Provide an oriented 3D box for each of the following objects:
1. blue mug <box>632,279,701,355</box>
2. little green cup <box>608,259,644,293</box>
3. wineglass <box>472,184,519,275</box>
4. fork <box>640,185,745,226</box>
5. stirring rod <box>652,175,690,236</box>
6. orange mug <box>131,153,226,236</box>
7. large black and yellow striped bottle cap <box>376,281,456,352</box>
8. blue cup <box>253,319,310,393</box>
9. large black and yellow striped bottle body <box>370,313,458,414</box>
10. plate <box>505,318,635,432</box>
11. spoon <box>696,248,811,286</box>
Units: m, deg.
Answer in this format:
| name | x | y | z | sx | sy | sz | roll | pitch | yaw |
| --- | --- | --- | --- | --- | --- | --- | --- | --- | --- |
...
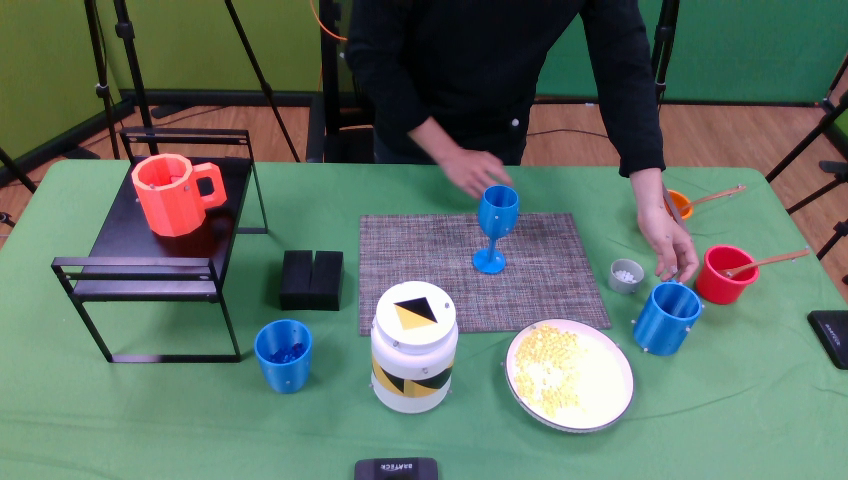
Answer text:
| name | x | y | z | sx | sy | sz | roll | pitch | yaw |
| --- | --- | --- | --- | --- | --- | --- | --- | --- | --- |
| blue mug | 0.419 | 0.123 | 1.052 | 0.082 | 0.106 | 0.116 | 14 | 47 | 9 |
| little green cup | 0.379 | 0.070 | 1.147 | 0.061 | 0.039 | 0.061 | 3 | 46 | -3 |
| wineglass | 0.129 | -0.018 | 1.112 | 0.074 | 0.173 | 0.073 | 2 | 46 | -2 |
| fork | 0.534 | -0.068 | 1.215 | 0.207 | 0.019 | 0.028 | -26 | 27 | 33 |
| stirring rod | 0.492 | -0.072 | 1.211 | 0.014 | 0.006 | 0.175 | -2 | 46 | -6 |
| orange mug | -0.375 | -0.075 | 0.937 | 0.126 | 0.101 | 0.083 | -20 | 50 | -17 |
| large black and yellow striped bottle cap | -0.011 | 0.107 | 0.863 | 0.115 | 0.019 | 0.114 | 2 | 47 | -2 |
| blue cup | -0.217 | 0.187 | 0.943 | 0.093 | 0.101 | 0.092 | 4 | 45 | -3 |
| large black and yellow striped bottle body | -0.017 | 0.165 | 0.924 | 0.131 | 0.185 | 0.130 | 2 | 46 | -2 |
| plate | 0.235 | 0.221 | 0.991 | 0.209 | 0.038 | 0.208 | 2 | 45 | -2 |
| spoon | 0.600 | 0.048 | 1.112 | 0.193 | 0.022 | 0.041 | -25 | 32 | 35 |
